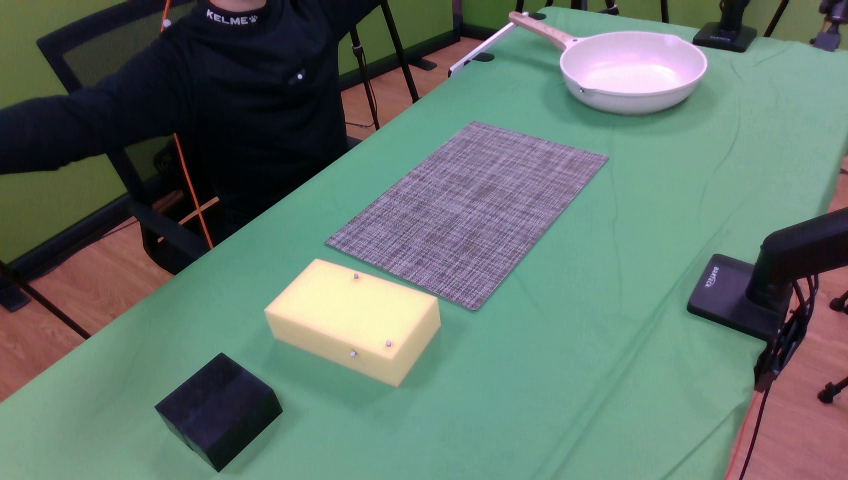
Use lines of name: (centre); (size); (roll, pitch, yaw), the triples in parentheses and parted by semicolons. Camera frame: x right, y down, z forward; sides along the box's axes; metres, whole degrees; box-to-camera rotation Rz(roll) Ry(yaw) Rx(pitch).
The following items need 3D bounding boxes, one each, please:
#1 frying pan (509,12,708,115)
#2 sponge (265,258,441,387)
frying pan: (0.369, -0.409, 1.328); (0.308, 0.103, 0.484); (-31, 54, -26)
sponge: (-0.096, 0.107, 0.830); (0.205, 0.061, 0.118); (16, 46, 25)
